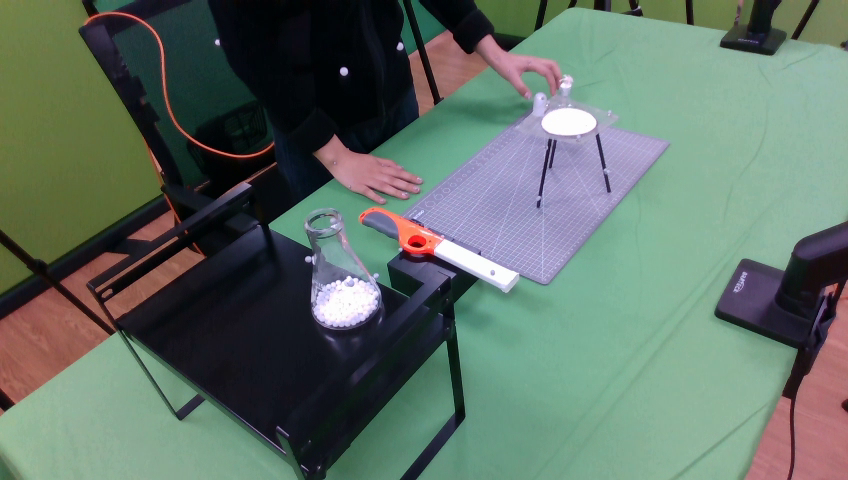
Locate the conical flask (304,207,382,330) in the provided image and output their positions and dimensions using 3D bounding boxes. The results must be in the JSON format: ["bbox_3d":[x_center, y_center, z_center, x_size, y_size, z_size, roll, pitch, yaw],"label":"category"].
[{"bbox_3d":[-0.088,0.025,0.601,0.075,0.122,0.075,-5,40,5],"label":"conical flask"}]

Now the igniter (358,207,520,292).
[{"bbox_3d":[0.014,0.007,0.887,0.274,0.025,0.057,25,52,29],"label":"igniter"}]

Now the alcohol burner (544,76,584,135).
[{"bbox_3d":[0.269,-0.256,1.161,0.078,0.119,0.077,-5,38,5],"label":"alcohol burner"}]

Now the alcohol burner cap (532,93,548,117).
[{"bbox_3d":[0.241,-0.282,1.251,0.034,0.048,0.033,-3,43,3],"label":"alcohol burner cap"}]

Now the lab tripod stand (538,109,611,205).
[{"bbox_3d":[0.244,-0.141,1.014,0.148,0.132,0.147,-3,39,3],"label":"lab tripod stand"}]

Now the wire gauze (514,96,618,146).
[{"bbox_3d":[0.229,-0.190,0.969,0.120,0.011,0.125,26,50,33],"label":"wire gauze"}]
